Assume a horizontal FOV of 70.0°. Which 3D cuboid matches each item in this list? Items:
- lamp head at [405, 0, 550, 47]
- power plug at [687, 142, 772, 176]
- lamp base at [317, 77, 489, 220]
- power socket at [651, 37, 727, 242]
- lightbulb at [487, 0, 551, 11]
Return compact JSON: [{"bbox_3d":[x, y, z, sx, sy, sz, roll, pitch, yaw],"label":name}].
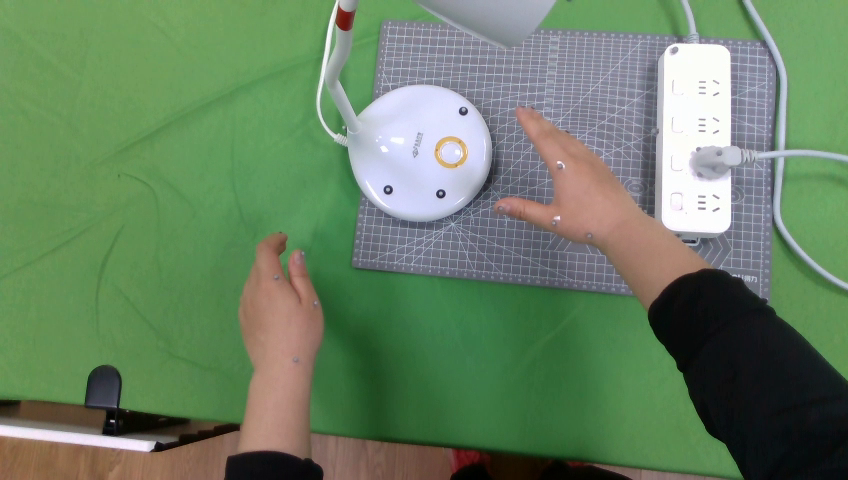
[{"bbox_3d":[0.006,-0.170,0.314,0.123,0.112,0.112,10,82,-15],"label":"lamp head"},{"bbox_3d":[0.311,-0.080,0.628,0.072,0.053,0.035,14,84,5],"label":"power plug"},{"bbox_3d":[-0.028,-0.114,0.609,0.179,0.181,0.160,1,81,9],"label":"lamp base"},{"bbox_3d":[0.285,-0.111,0.654,0.072,0.033,0.226,3,81,5],"label":"power socket"},{"bbox_3d":[0.030,-0.161,0.316,0.108,0.059,0.059,18,82,-19],"label":"lightbulb"}]
